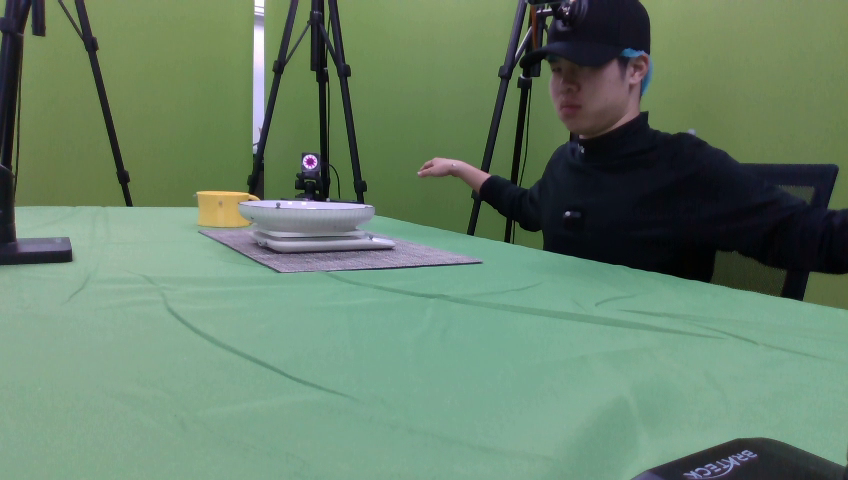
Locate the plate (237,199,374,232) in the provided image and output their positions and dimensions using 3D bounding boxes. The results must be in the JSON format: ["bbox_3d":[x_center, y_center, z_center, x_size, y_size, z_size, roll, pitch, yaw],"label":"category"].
[{"bbox_3d":[-0.183,-0.039,0.941,0.209,0.038,0.209,3,7,0],"label":"plate"}]

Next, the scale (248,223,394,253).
[{"bbox_3d":[-0.162,-0.007,0.954,0.202,0.031,0.148,-1,9,-32],"label":"scale"}]

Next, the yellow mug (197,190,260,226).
[{"bbox_3d":[-0.389,-0.065,1.223,0.131,0.064,0.099,-1,8,-34],"label":"yellow mug"}]
